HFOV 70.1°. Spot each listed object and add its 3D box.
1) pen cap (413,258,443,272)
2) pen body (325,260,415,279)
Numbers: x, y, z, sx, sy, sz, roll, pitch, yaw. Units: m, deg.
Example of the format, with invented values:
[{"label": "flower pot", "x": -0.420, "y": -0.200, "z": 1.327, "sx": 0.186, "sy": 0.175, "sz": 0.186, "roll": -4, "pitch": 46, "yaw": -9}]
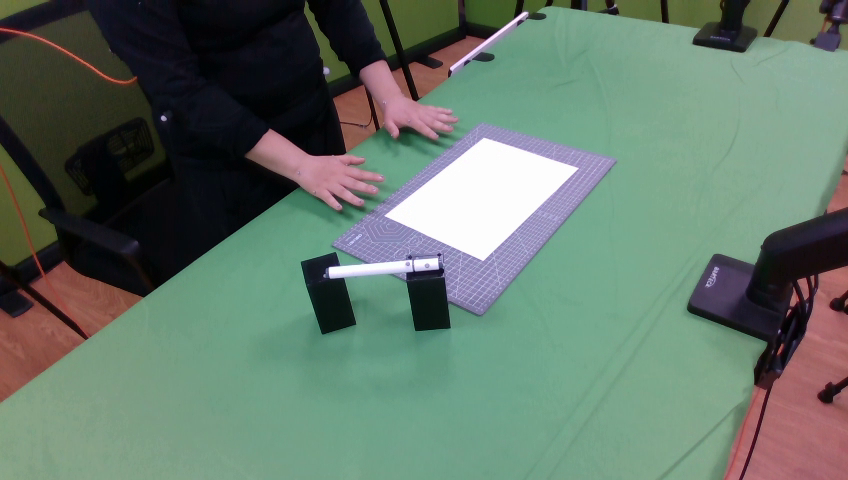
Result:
[{"label": "pen cap", "x": 0.005, "y": 0.031, "z": 0.781, "sx": 0.038, "sy": 0.017, "sz": 0.017, "roll": -5, "pitch": 40, "yaw": 3}, {"label": "pen body", "x": -0.056, "y": 0.037, "z": 0.784, "sx": 0.144, "sy": 0.017, "sz": 0.017, "roll": -5, "pitch": 40, "yaw": 3}]
